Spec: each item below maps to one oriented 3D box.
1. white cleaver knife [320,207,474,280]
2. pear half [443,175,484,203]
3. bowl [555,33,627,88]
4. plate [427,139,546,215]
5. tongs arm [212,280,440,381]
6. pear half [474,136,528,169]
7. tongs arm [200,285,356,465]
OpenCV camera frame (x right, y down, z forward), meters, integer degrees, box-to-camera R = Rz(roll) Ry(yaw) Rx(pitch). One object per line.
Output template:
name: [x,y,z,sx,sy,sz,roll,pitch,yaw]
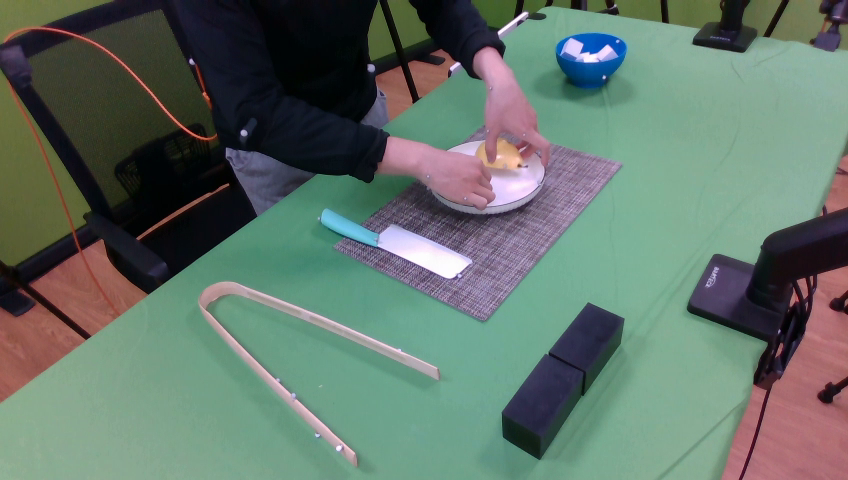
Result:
white cleaver knife: [-0.052,-0.001,0.977,0.284,0.021,0.066,24,44,26]
pear half: [0.065,-0.091,1.027,0.070,0.031,0.087,-21,25,-4]
bowl: [0.360,-0.384,1.317,0.151,0.077,0.150,-4,41,4]
plate: [0.109,-0.107,1.059,0.207,0.039,0.206,-4,41,4]
tongs arm: [-0.147,0.121,0.846,0.385,0.028,0.028,17,48,25]
pear half: [0.142,-0.150,1.055,0.077,0.056,0.109,-14,26,-42]
tongs arm: [-0.199,0.162,0.797,0.381,0.026,0.051,28,50,35]
